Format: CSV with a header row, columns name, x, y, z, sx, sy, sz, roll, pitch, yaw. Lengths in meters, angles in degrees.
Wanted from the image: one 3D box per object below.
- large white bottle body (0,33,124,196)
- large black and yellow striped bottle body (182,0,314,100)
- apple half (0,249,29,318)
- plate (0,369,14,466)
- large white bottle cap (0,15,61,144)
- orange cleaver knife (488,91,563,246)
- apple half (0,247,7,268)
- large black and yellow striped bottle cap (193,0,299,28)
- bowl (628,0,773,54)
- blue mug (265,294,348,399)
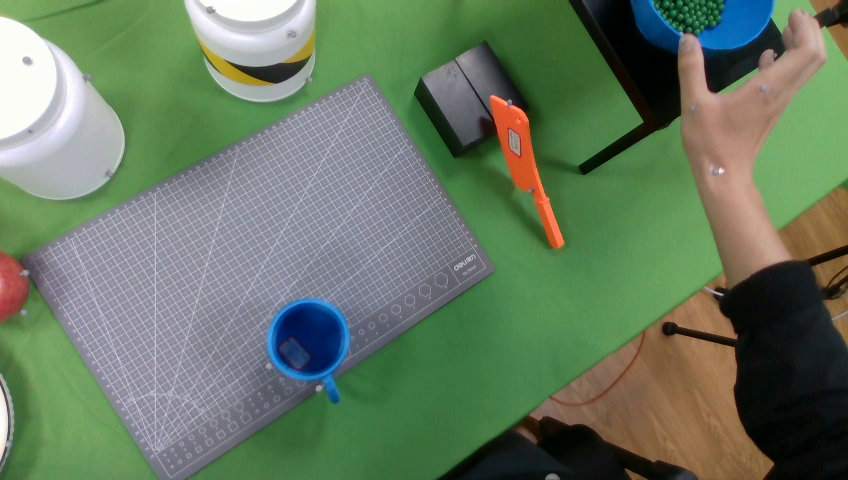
name,x,y,z,sx,sy,sz,roll,pitch,yaw
large white bottle body,-0.391,-0.125,0.600,0.131,0.184,0.130,2,81,-11
large black and yellow striped bottle body,-0.186,-0.246,0.659,0.131,0.184,0.130,2,81,-10
apple half,-0.443,0.054,0.621,0.053,0.074,0.080,44,73,-6
plate,-0.522,0.185,0.604,0.210,0.038,0.208,2,82,-11
large white bottle cap,-0.376,-0.138,0.517,0.115,0.018,0.114,2,82,-11
orange cleaver knife,0.126,-0.085,0.750,0.012,0.076,0.213,-33,120,-15
apple half,-0.472,0.027,0.618,0.033,0.081,0.081,45,76,-7
large black and yellow striped bottle cap,-0.172,-0.260,0.578,0.115,0.019,0.114,2,82,-13
bowl,0.266,-0.253,0.623,0.152,0.077,0.151,2,82,-11
blue mug,-0.120,0.119,0.659,0.082,0.106,0.116,-24,87,-14
